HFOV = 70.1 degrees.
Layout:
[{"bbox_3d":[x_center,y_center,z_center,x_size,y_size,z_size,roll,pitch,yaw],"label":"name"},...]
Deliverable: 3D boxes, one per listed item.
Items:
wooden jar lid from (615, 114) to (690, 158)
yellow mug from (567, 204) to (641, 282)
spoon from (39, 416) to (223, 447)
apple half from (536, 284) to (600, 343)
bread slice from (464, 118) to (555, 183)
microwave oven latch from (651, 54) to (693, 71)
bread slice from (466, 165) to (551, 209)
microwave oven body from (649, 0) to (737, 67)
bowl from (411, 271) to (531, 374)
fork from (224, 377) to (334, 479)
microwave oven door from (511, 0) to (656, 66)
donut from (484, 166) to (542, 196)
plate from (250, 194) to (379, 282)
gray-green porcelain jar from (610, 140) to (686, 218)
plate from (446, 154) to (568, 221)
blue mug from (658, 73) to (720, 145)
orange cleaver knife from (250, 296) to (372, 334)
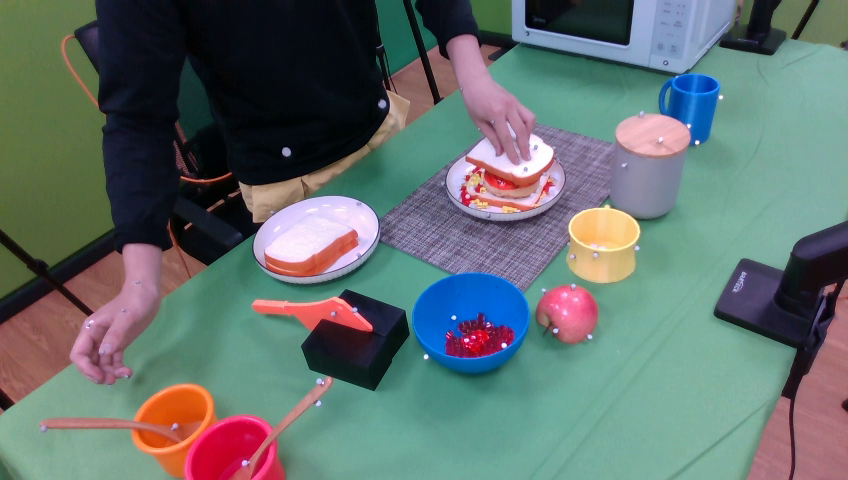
[{"bbox_3d":[0.347,-0.155,0.923,0.108,0.021,0.108,-3,44,4],"label":"wooden jar lid"},{"bbox_3d":[0.268,-0.005,0.905,0.099,0.064,0.130,6,42,15],"label":"yellow mug"},{"bbox_3d":[-0.320,0.209,0.677,0.021,0.195,0.041,-53,41,15],"label":"spoon"},{"bbox_3d":[0.196,0.091,0.815,0.075,0.053,0.080,-22,42,-20],"label":"apple half"},{"bbox_3d":[0.147,-0.146,0.983,0.105,0.019,0.130,-39,58,-23],"label":"bread slice"},{"bbox_3d":[0.531,-0.386,1.301,0.078,0.029,0.030,26,51,34],"label":"microwave oven latch"},{"bbox_3d":[0.141,-0.094,1.041,0.133,0.018,0.107,8,42,20],"label":"bread slice"},{"bbox_3d":[0.475,-0.602,1.411,0.438,0.261,0.327,23,50,32],"label":"microwave oven body"},{"bbox_3d":[0.062,0.119,0.780,0.151,0.077,0.150,-4,40,4],"label":"bowl"},{"bbox_3d":[-0.163,0.216,0.646,0.207,0.019,0.028,-49,42,16],"label":"fork"},{"bbox_3d":[0.350,-0.539,1.348,0.353,0.245,0.039,24,50,31],"label":"microwave oven door"},{"bbox_3d":[0.151,-0.111,1.020,0.099,0.048,0.098,-4,38,4],"label":"donut"},{"bbox_3d":[-0.174,-0.001,0.984,0.209,0.038,0.208,-4,40,3],"label":"plate"},{"bbox_3d":[0.354,-0.106,0.964,0.106,0.127,0.105,-4,41,4],"label":"gray-green porcelain jar"},{"bbox_3d":[0.143,-0.097,1.045,0.207,0.039,0.206,-4,40,4],"label":"plate"},{"bbox_3d":[0.483,-0.250,1.127,0.082,0.106,0.115,-26,44,-19],"label":"blue mug"},{"bbox_3d":[-0.158,0.103,0.828,0.210,0.078,0.012,-4,43,39],"label":"orange cleaver knife"}]
